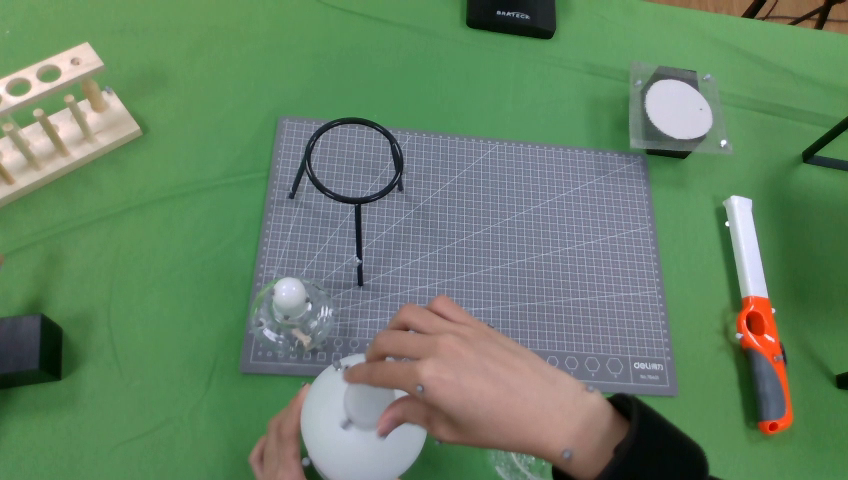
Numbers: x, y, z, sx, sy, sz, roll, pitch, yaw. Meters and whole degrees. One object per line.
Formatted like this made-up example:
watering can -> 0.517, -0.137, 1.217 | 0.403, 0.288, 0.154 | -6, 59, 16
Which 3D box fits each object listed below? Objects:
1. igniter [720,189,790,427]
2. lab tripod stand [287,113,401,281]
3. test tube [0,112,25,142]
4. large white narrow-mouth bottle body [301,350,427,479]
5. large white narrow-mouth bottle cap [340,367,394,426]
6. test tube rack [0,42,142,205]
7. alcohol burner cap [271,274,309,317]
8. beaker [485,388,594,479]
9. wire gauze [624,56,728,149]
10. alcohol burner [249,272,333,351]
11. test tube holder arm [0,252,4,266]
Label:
igniter -> 0.371, 0.069, 0.683 | 0.057, 0.025, 0.274 | 10, 66, -16
lab tripod stand -> -0.072, -0.048, 0.604 | 0.149, 0.132, 0.147 | 4, 67, -9
test tube -> -0.410, -0.138, 0.565 | 0.017, 0.151, 0.017 | 4, 61, -7
large white narrow-mouth bottle body -> -0.049, 0.144, 0.494 | 0.102, 0.195, 0.101 | 3, 66, -6
large white narrow-mouth bottle cap -> -0.039, 0.106, 0.411 | 0.038, 0.024, 0.037 | 3, 66, -7
test tube rack -> -0.420, -0.095, 0.599 | 0.242, 0.085, 0.066 | -35, 76, -21
alcohol burner cap -> -0.118, 0.047, 0.527 | 0.034, 0.048, 0.033 | 2, 72, -7
beaker -> 0.097, 0.179, 0.554 | 0.084, 0.101, 0.073 | 31, 65, 7
wire gauze -> 0.300, -0.164, 0.730 | 0.122, 0.011, 0.124 | 6, 67, -6
alcohol burner -> -0.123, 0.060, 0.560 | 0.078, 0.119, 0.077 | 4, 65, -9
test tube holder arm -> -0.388, 0.049, 0.526 | 0.010, 0.015, 0.087 | 8, 65, -5
